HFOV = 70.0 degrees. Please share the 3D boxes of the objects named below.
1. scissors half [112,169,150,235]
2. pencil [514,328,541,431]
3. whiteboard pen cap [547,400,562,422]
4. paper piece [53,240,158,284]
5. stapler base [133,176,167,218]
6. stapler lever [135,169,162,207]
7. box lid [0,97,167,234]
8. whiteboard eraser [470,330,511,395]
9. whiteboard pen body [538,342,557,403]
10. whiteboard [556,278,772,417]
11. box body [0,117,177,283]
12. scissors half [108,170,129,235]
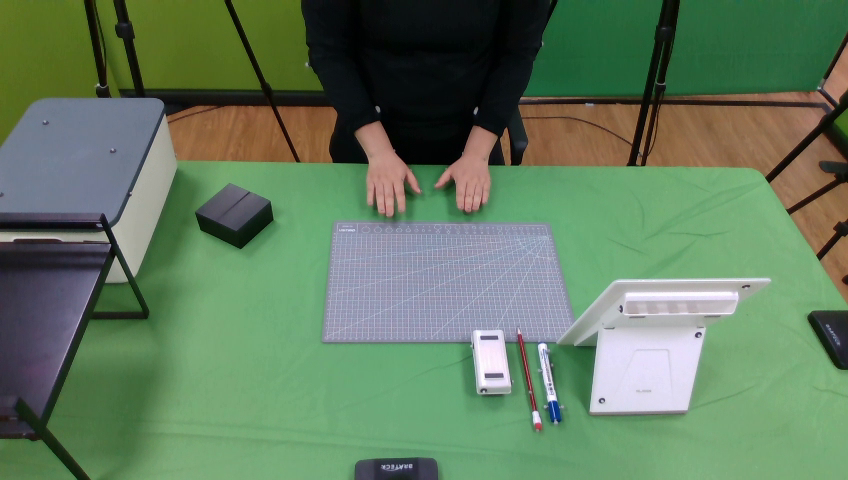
[{"bbox_3d":[-0.596,-0.078,1.225,0.040,0.013,0.174,7,53,1],"label":"scissors half"},{"bbox_3d":[0.169,0.224,1.002,0.012,0.012,0.192,-2,46,-6],"label":"pencil"},{"bbox_3d":[0.205,0.269,0.956,0.018,0.018,0.033,0,47,-5],"label":"whiteboard pen cap"},{"bbox_3d":[-0.593,0.037,1.134,0.136,0.009,0.137,3,32,8],"label":"paper piece"},{"bbox_3d":[-0.559,-0.094,1.235,0.041,0.024,0.129,7,39,-13],"label":"stapler base"},{"bbox_3d":[-0.555,-0.112,1.221,0.027,0.040,0.117,6,41,-13],"label":"stapler lever"},{"bbox_3d":[-0.636,-0.145,1.086,0.263,0.015,0.369,0,46,-4],"label":"box lid"},{"bbox_3d":[0.110,0.202,0.998,0.055,0.042,0.112,1,46,-5],"label":"whiteboard eraser"},{"bbox_3d":[0.205,0.228,0.997,0.017,0.017,0.140,1,46,-3],"label":"whiteboard pen body"},{"bbox_3d":[0.347,0.174,0.903,0.217,0.306,0.143,1,65,-4],"label":"whiteboard"},{"bbox_3d":[-0.640,-0.095,1.140,0.254,0.161,0.361,0,46,-4],"label":"box body"},{"bbox_3d":[-0.617,-0.077,1.223,0.040,0.013,0.174,-14,54,-8],"label":"scissors half"}]
